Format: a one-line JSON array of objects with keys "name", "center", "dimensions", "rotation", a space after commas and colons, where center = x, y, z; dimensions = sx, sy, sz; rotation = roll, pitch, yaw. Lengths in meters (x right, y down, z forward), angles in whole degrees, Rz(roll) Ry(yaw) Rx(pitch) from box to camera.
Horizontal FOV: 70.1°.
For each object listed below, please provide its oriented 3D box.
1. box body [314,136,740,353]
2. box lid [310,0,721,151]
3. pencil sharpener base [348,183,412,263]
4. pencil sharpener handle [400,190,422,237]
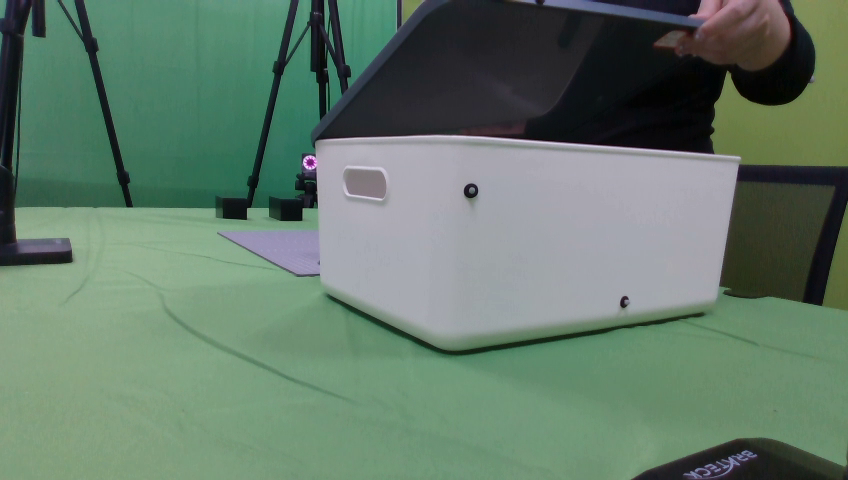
[{"name": "box body", "center": [0.098, -0.012, 0.606], "dimensions": [0.366, 0.160, 0.253], "rotation": [-2, 8, -33]}, {"name": "box lid", "center": [0.092, -0.149, 0.603], "dimensions": [0.373, 0.015, 0.262], "rotation": [-8, -13, -36]}, {"name": "pencil sharpener base", "center": [-0.059, -0.024, 0.845], "dimensions": [0.077, 0.107, 0.061], "rotation": [-1, 7, -30]}, {"name": "pencil sharpener handle", "center": [-0.016, -0.037, 0.872], "dimensions": [0.031, 0.067, 0.036], "rotation": [-1, 16, -30]}]
